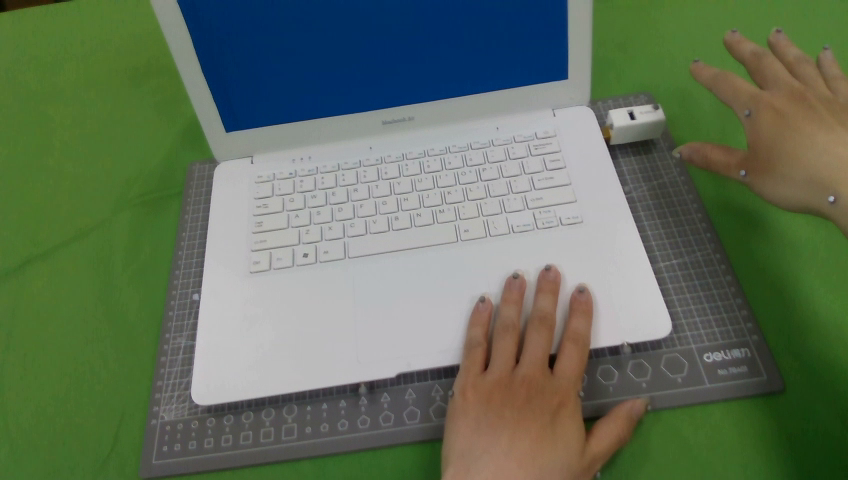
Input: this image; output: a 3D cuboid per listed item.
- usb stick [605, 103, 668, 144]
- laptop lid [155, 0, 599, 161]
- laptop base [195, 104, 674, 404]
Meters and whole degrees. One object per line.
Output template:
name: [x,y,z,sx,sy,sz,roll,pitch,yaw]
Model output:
usb stick: [0.180,-0.101,0.530,0.059,0.027,0.021,-9,56,5]
laptop lid: [-0.033,-0.188,0.494,0.357,0.244,0.013,-10,38,3]
laptop base: [-0.005,0.000,0.502,0.354,0.023,0.233,-9,59,2]
